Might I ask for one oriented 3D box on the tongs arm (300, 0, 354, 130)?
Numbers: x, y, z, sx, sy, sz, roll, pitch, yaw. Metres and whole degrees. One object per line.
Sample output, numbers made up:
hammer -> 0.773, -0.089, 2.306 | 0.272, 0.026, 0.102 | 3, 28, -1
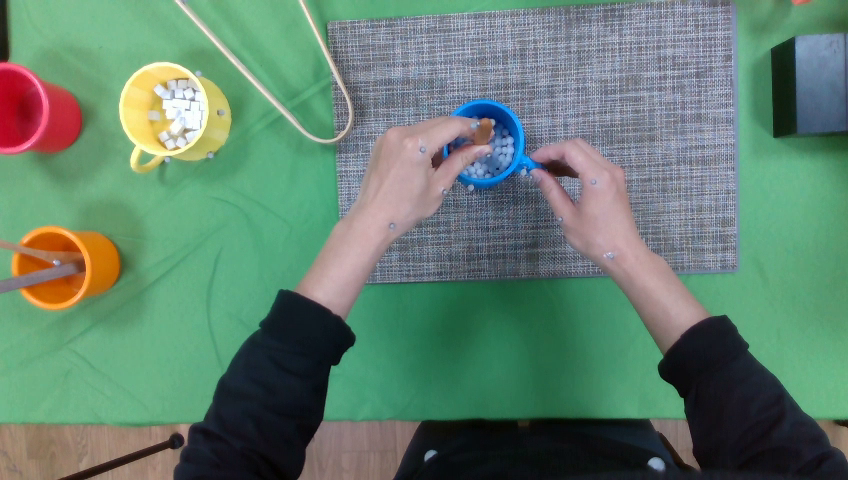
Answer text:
tongs arm -> -0.165, -0.303, 0.660 | 0.028, 0.027, 0.388 | -27, 99, -4

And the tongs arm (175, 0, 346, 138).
tongs arm -> -0.233, -0.254, 0.664 | 0.051, 0.026, 0.386 | -41, 98, 2

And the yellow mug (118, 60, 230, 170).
yellow mug -> -0.287, -0.132, 0.681 | 0.100, 0.064, 0.131 | 36, 96, 0

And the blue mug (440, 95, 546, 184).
blue mug -> 0.075, -0.096, 0.640 | 0.116, 0.106, 0.082 | 24, 94, 1

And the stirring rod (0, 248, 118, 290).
stirring rod -> -0.431, 0.038, 0.665 | 0.176, 0.006, 0.014 | -19, 88, -37

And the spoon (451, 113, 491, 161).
spoon -> 0.049, -0.094, 0.571 | 0.041, 0.193, 0.021 | -1, 93, 0

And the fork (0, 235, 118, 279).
fork -> -0.441, 0.004, 0.657 | 0.209, 0.018, 0.028 | 25, 90, -42
